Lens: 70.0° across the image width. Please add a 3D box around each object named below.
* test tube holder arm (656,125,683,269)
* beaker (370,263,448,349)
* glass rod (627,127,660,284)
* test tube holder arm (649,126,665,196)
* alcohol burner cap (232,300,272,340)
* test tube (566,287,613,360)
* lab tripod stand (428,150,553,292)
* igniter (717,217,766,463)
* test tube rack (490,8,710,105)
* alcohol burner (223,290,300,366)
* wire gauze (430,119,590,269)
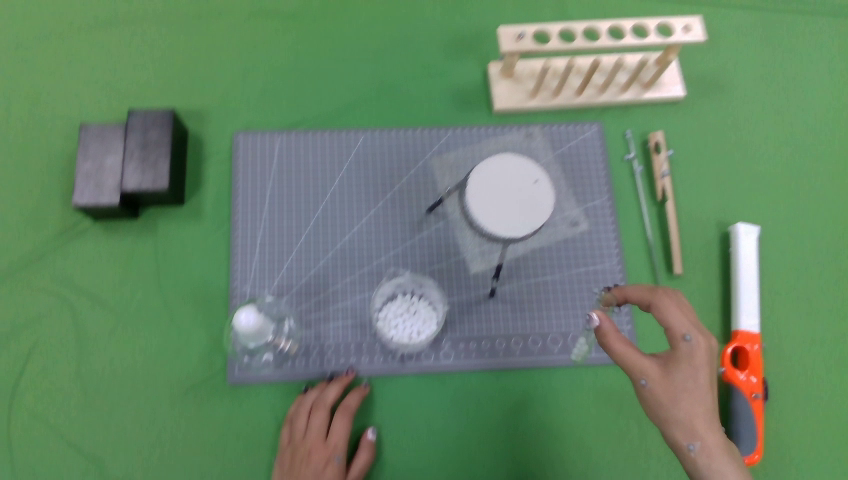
[{"bbox_3d":[0.292,-0.053,0.722,0.013,0.015,0.177,-11,74,28],"label":"test tube holder arm"},{"bbox_3d":[-0.019,0.072,0.626,0.074,0.100,0.083,-23,77,-9],"label":"beaker"},{"bbox_3d":[0.261,-0.044,0.724,0.008,0.008,0.198,-3,75,-5],"label":"glass rod"},{"bbox_3d":[0.285,-0.096,0.735,0.010,0.015,0.087,-11,74,28],"label":"test tube holder arm"},{"bbox_3d":[-0.165,0.073,0.572,0.034,0.048,0.033,2,65,-3],"label":"alcohol burner cap"},{"bbox_3d":[0.146,0.079,0.544,0.017,0.151,0.017,-1,61,3],"label":"test tube"},{"bbox_3d":[0.072,-0.029,0.641,0.148,0.132,0.147,0,75,-1],"label":"lab tripod stand"},{"bbox_3d":[0.356,0.108,0.680,0.057,0.025,0.275,11,74,-10],"label":"igniter"},{"bbox_3d":[0.208,-0.219,0.728,0.242,0.085,0.066,-4,75,-4],"label":"test tube rack"},{"bbox_3d":[-0.166,0.085,0.606,0.078,0.119,0.077,1,72,-2],"label":"alcohol burner"},{"bbox_3d":[0.080,-0.048,0.577,0.121,0.011,0.124,-18,77,-7],"label":"wire gauze"}]
